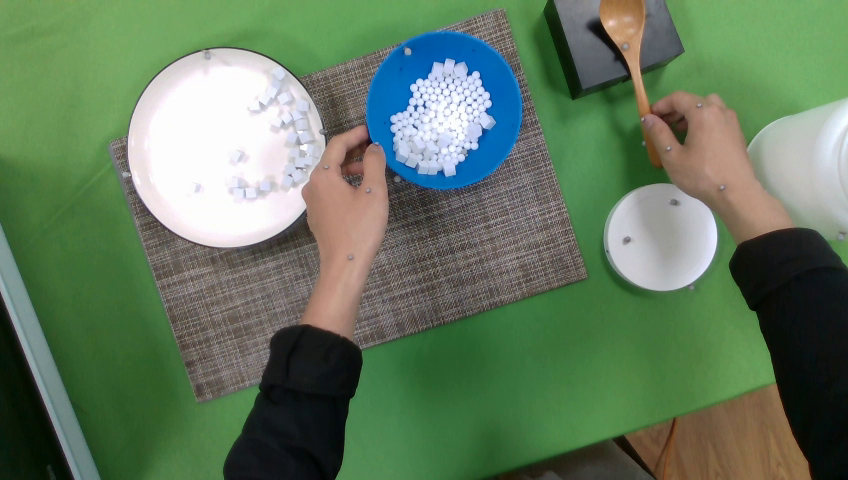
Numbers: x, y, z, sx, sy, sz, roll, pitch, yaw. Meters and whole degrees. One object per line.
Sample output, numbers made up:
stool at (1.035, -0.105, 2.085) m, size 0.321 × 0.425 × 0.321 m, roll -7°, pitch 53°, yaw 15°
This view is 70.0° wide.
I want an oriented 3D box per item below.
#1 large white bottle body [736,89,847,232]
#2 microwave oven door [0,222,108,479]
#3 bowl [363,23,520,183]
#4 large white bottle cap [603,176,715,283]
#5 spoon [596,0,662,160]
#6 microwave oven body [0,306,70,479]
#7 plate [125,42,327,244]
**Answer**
large white bottle body at (0.391, -0.072, 0.556) m, size 0.130 × 0.184 × 0.130 m, roll 0°, pitch 92°, yaw 2°
microwave oven door at (-0.414, 0.144, 0.540) m, size 0.039 × 0.243 × 0.356 m, roll -21°, pitch 92°, yaw 2°
bowl at (0.018, -0.130, 0.611) m, size 0.151 × 0.077 × 0.151 m, roll 0°, pitch 93°, yaw 2°
large white bottle cap at (0.250, -0.011, 0.645) m, size 0.115 × 0.018 × 0.115 m, roll 0°, pitch 94°, yaw 2°
spoon at (0.210, -0.162, 0.602) m, size 0.041 × 0.021 × 0.195 m, roll -17°, pitch 116°, yaw 15°
microwave oven body at (-0.566, 0.155, 0.549) m, size 0.326 × 0.260 × 0.442 m, roll -20°, pitch 93°, yaw 2°
plate at (-0.204, -0.099, 0.638) m, size 0.209 × 0.038 × 0.209 m, roll 0°, pitch 93°, yaw 1°
